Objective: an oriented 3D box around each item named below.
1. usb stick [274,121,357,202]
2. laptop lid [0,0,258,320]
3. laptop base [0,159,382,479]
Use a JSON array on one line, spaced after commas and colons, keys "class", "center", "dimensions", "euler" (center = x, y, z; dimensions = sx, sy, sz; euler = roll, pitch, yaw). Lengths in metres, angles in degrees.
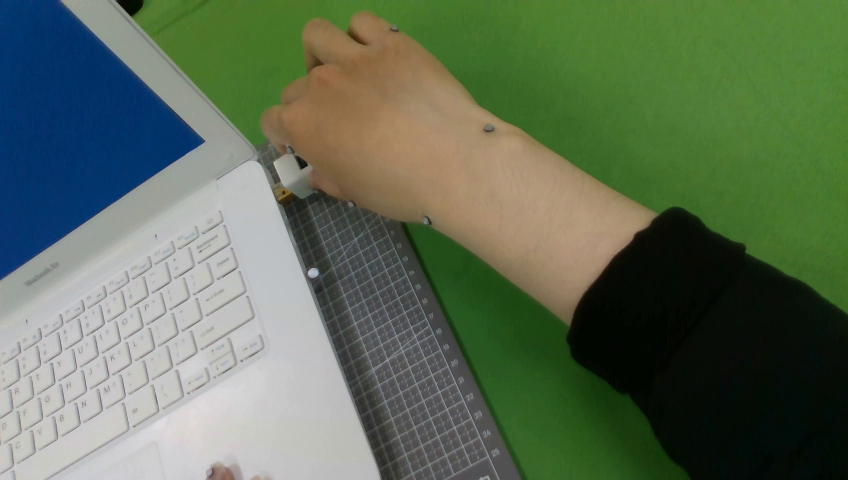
[{"class": "usb stick", "center": [-0.074, -0.046, 0.382], "dimensions": [0.059, 0.027, 0.021], "euler": [-35, 66, 12]}, {"class": "laptop lid", "center": [-0.311, -0.035, 0.357], "dimensions": [0.356, 0.244, 0.013], "euler": [-32, 44, 9]}, {"class": "laptop base", "center": [-0.210, 0.125, 0.386], "dimensions": [0.354, 0.023, 0.233], "euler": [-31, 65, 8]}]
